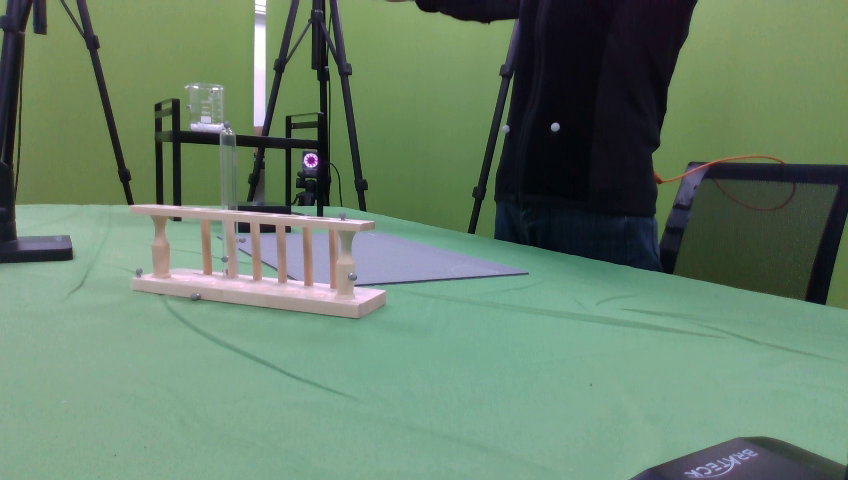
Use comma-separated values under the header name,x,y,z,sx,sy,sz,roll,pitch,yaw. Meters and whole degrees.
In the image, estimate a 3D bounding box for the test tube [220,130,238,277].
name,x,y,z,sx,sy,sz,roll,pitch,yaw
test tube,-0.197,-0.036,0.613,0.017,0.150,0.017,2,9,0

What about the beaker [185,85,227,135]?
name,x,y,z,sx,sy,sz,roll,pitch,yaw
beaker,-0.460,-0.275,1.282,0.084,0.100,0.073,-3,8,-27

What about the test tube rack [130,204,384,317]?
name,x,y,z,sx,sy,sz,roll,pitch,yaw
test tube rack,-0.163,0.013,0.589,0.242,0.085,0.067,5,8,17
